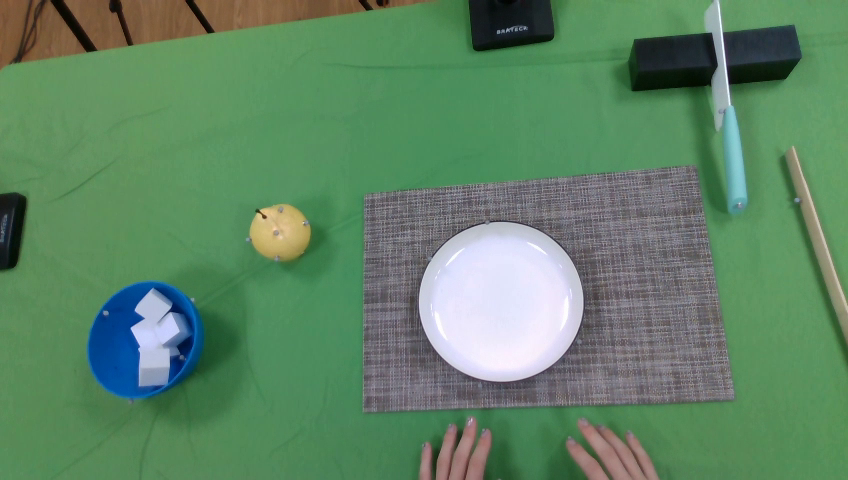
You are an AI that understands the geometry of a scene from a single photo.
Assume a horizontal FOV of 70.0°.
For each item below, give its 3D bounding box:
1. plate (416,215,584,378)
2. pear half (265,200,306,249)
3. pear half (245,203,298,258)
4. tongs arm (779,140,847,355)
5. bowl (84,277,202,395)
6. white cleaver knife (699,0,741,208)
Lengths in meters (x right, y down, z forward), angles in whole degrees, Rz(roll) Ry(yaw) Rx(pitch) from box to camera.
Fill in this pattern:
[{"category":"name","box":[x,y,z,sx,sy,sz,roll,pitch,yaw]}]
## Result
[{"category":"plate","box":[0.095,0.071,0.768,0.207,0.039,0.206,-2,74,8]},{"category":"pear half","box":[-0.180,-0.027,0.815,0.031,0.089,0.070,-30,61,-1]},{"category":"pear half","box":[-0.213,-0.014,0.805,0.056,0.111,0.075,-30,61,-2]},{"category":"tongs arm","box":[0.495,0.056,0.722,0.028,0.028,0.385,-11,72,4]},{"category":"bowl","box":[-0.354,0.131,0.800,0.151,0.077,0.150,-2,73,8]},{"category":"white cleaver knife","box":[0.382,-0.183,0.785,0.021,0.066,0.285,-3,83,12]}]
